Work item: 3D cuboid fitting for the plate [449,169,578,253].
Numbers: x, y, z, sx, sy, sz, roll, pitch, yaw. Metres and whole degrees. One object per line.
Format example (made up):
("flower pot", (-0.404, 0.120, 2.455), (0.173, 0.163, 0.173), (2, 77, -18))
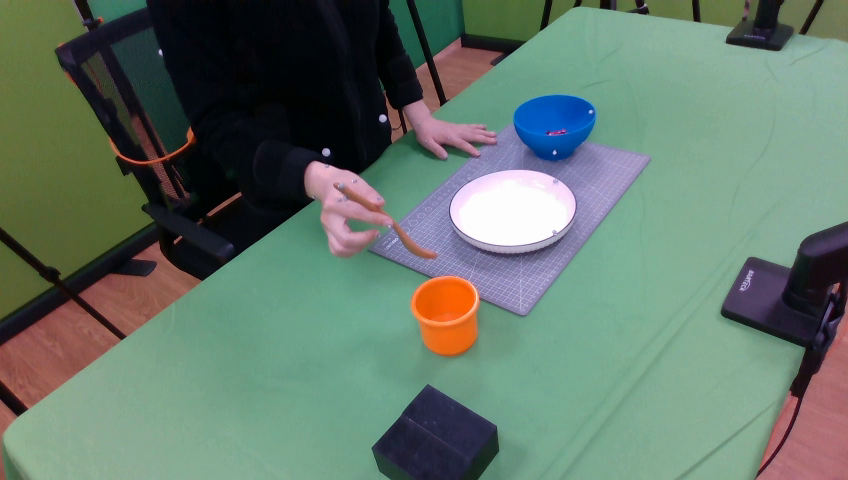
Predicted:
("plate", (0.146, -0.044, 0.993), (0.209, 0.038, 0.208), (-5, 40, 5))

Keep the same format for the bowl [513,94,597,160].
("bowl", (0.244, -0.202, 1.130), (0.151, 0.077, 0.150), (-6, 40, 5))

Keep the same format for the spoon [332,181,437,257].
("spoon", (-0.046, -0.023, 0.747), (0.041, 0.195, 0.021), (26, 79, 47))
